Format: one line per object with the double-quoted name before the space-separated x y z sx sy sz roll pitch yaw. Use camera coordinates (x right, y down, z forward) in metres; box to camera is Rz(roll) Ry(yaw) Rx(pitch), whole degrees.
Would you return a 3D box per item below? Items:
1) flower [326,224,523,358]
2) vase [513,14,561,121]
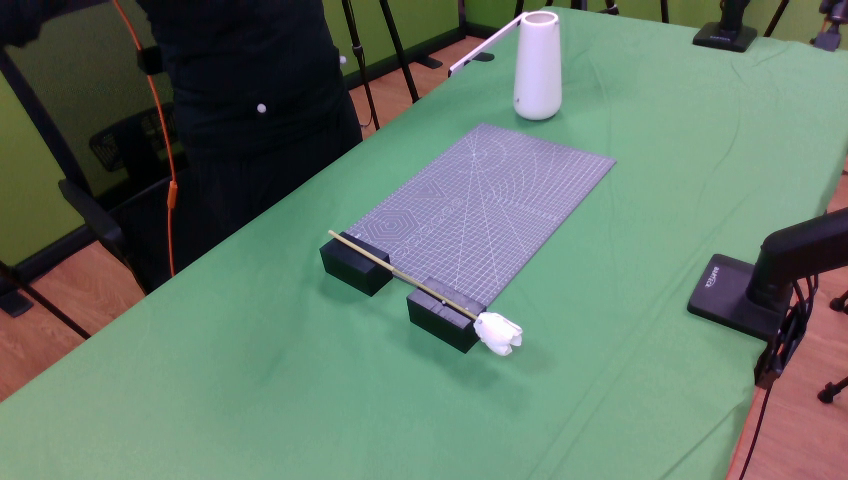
"flower" -0.018 0.054 0.835 0.359 0.038 0.044 31 84 32
"vase" 0.225 -0.336 1.196 0.098 0.201 0.097 -5 42 5
